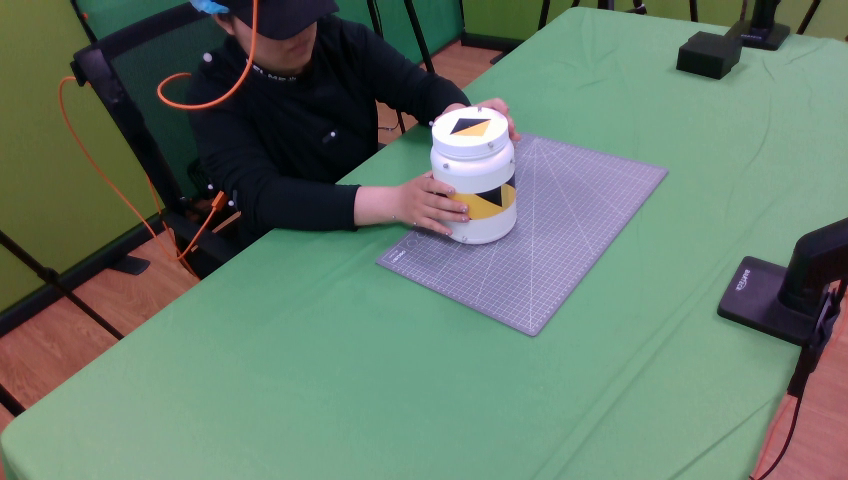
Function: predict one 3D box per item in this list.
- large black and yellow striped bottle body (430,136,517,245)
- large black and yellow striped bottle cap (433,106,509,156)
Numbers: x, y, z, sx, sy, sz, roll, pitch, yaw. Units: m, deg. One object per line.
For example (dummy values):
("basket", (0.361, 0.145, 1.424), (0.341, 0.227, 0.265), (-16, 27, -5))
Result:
("large black and yellow striped bottle body", (0.080, -0.100, 0.955), (0.131, 0.185, 0.130), (-5, 40, 5))
("large black and yellow striped bottle cap", (0.070, -0.164, 0.902), (0.115, 0.019, 0.114), (-5, 41, 5))
